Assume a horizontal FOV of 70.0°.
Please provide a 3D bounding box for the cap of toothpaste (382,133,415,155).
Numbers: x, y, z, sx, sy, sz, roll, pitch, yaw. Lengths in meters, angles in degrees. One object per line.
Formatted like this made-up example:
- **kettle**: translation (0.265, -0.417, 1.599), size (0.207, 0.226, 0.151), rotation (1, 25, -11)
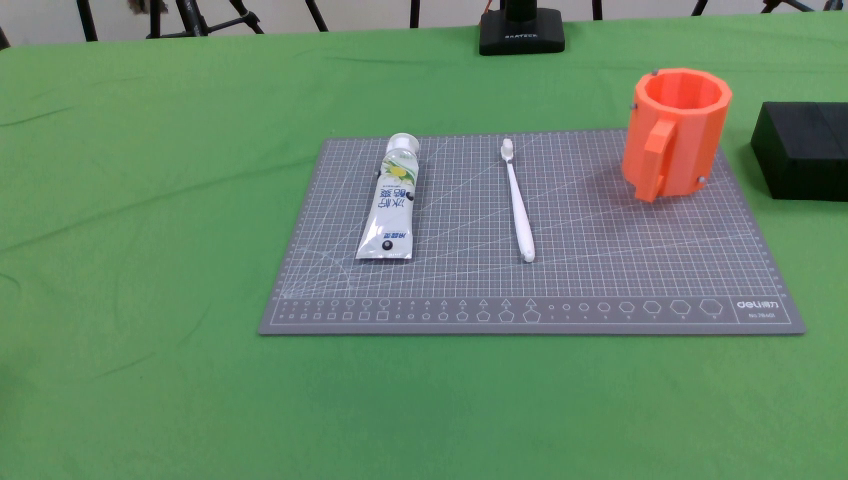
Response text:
- **cap of toothpaste**: translation (-0.029, -0.103, 0.673), size (0.037, 0.038, 0.011), rotation (2, 50, 9)

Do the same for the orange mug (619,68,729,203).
- **orange mug**: translation (0.236, -0.097, 0.593), size (0.083, 0.102, 0.126), rotation (20, 45, 26)

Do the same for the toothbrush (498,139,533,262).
- **toothbrush**: translation (0.092, -0.046, 0.616), size (0.014, 0.017, 0.180), rotation (4, 44, -7)

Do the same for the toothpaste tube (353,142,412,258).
- **toothpaste tube**: translation (-0.036, -0.045, 0.623), size (0.055, 0.035, 0.163), rotation (-4, 47, 9)
